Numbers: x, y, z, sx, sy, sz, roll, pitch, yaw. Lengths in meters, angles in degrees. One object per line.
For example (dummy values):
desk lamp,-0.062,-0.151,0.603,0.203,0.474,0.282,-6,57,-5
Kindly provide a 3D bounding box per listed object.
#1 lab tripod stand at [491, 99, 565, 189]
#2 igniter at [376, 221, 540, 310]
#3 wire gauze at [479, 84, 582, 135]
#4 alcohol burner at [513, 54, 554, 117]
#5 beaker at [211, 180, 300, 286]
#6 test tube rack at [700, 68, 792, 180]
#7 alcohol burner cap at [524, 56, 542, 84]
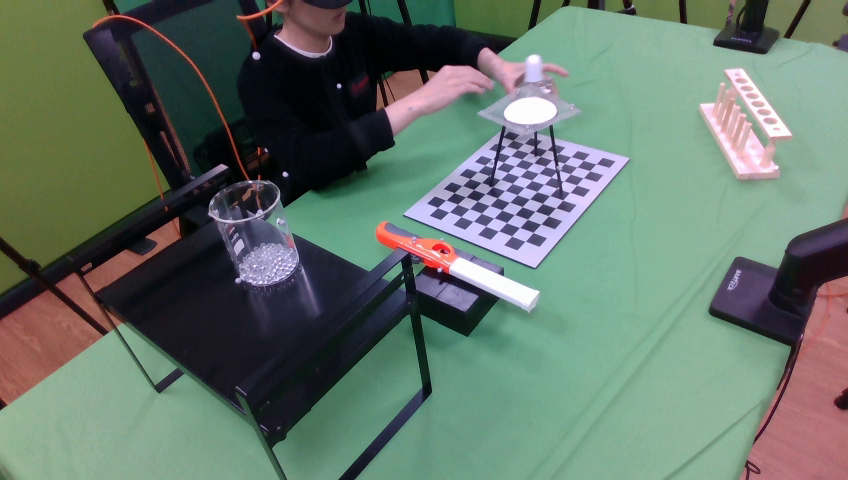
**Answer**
lab tripod stand,0.184,-0.163,1.046,0.148,0.132,0.147,-5,43,5
igniter,0.037,0.031,0.858,0.274,0.025,0.057,24,46,29
wire gauze,0.176,-0.216,1.006,0.125,0.011,0.120,-29,46,-22
alcohol burner,0.208,-0.297,1.150,0.078,0.120,0.077,-7,40,7
beaker,-0.183,-0.007,0.674,0.074,0.101,0.083,-1,40,7
test tube rack,0.572,-0.215,1.090,0.066,0.085,0.241,-3,41,7
alcohol burner cap,0.203,-0.321,1.131,0.034,0.048,0.033,-7,39,6
